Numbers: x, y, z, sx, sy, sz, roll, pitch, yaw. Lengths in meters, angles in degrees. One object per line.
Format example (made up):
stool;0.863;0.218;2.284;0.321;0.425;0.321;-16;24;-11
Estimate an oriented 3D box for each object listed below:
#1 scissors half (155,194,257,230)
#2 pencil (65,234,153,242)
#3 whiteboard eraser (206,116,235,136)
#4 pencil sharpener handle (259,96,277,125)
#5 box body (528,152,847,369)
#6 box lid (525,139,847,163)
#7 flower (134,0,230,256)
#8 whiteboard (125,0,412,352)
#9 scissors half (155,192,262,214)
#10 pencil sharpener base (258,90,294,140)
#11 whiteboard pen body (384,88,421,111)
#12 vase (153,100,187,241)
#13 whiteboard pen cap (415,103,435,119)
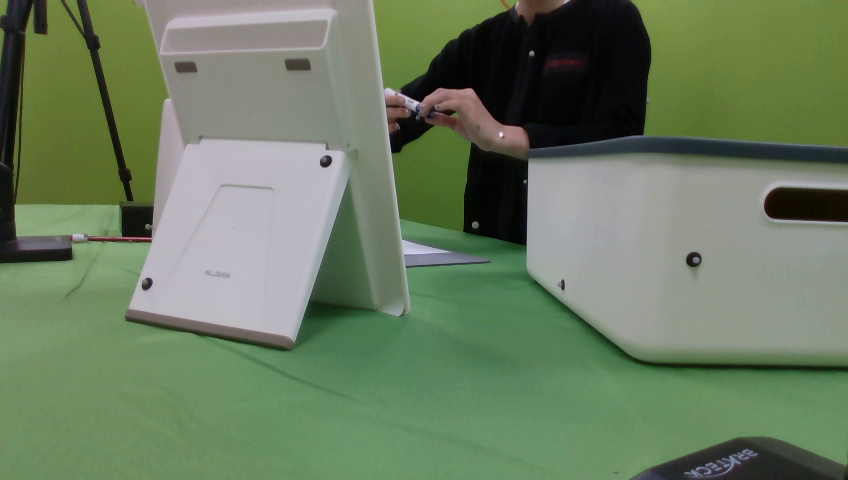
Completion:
scissors half;-0.378;-0.051;1.058;0.176;0.040;0.012;20;22;-31
pencil;-0.429;-0.001;0.911;0.195;0.012;0.012;1;8;-19
whiteboard eraser;-0.449;-0.251;1.335;0.056;0.042;0.112;1;7;-23
pencil sharpener handle;-0.373;-0.304;1.425;0.036;0.067;0.030;13;-1;-37
box body;0.258;-0.005;0.591;0.254;0.160;0.363;2;7;-4
box lid;0.261;-0.078;0.580;0.264;0.015;0.371;2;7;-4
flower;-0.282;-0.146;0.713;0.038;0.362;0.044;-23;23;-30
whiteboard;-0.151;-0.049;0.472;0.216;0.305;0.144;6;27;24
scissors half;-0.371;-0.069;1.051;0.176;0.040;0.013;2;25;-24
pencil sharpener base;-0.341;-0.285;1.388;0.062;0.107;0.076;-3;9;-36
whiteboard pen body;-0.028;-0.217;0.946;0.017;0.017;0.140;-2;24;-33
vase;-0.278;-0.066;0.736;0.098;0.200;0.098;2;9;0
whiteboard pen cap;0.001;-0.193;0.902;0.018;0.018;0.033;-3;26;-34
